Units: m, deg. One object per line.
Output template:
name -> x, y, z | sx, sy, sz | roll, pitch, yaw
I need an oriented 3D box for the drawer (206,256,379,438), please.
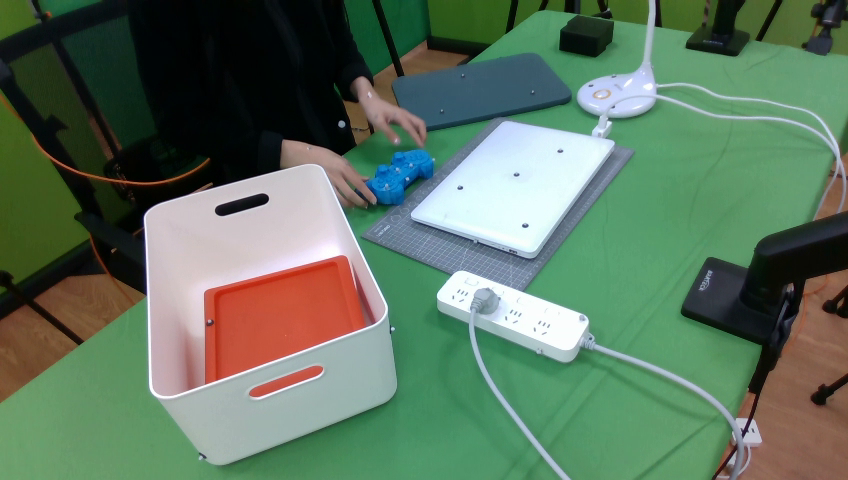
drawer -> -0.177, 0.130, 0.787 | 0.195, 0.073, 0.210 | -14, 39, -10

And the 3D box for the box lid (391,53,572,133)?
box lid -> 0.123, -0.339, 1.366 | 0.372, 0.015, 0.261 | -12, 40, -5

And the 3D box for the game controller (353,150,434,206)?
game controller -> -0.051, -0.121, 1.105 | 0.096, 0.052, 0.155 | 23, 49, 28

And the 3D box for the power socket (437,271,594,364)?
power socket -> 0.118, 0.102, 0.830 | 0.225, 0.033, 0.072 | 20, 48, 28

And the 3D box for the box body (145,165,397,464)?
box body -> -0.205, 0.080, 0.802 | 0.255, 0.161, 0.361 | -18, 41, -13

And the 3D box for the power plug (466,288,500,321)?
power plug -> 0.072, 0.093, 0.813 | 0.035, 0.053, 0.073 | 30, 54, 35

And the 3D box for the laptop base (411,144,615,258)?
laptop base -> 0.167, -0.102, 1.074 | 0.234, 0.023, 0.355 | 16, 45, 30

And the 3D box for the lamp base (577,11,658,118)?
lamp base -> 0.406, -0.363, 1.222 | 0.180, 0.181, 0.159 | -20, 42, -18

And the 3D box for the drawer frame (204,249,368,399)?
drawer frame -> -0.174, 0.129, 0.791 | 0.202, 0.083, 0.212 | -16, 45, -8

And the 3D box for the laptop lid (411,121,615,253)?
laptop lid -> 0.164, -0.112, 1.068 | 0.240, 0.013, 0.357 | 19, 46, 31

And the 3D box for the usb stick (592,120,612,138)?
usb stick -> 0.335, -0.203, 1.149 | 0.021, 0.027, 0.059 | 25, 53, 26
